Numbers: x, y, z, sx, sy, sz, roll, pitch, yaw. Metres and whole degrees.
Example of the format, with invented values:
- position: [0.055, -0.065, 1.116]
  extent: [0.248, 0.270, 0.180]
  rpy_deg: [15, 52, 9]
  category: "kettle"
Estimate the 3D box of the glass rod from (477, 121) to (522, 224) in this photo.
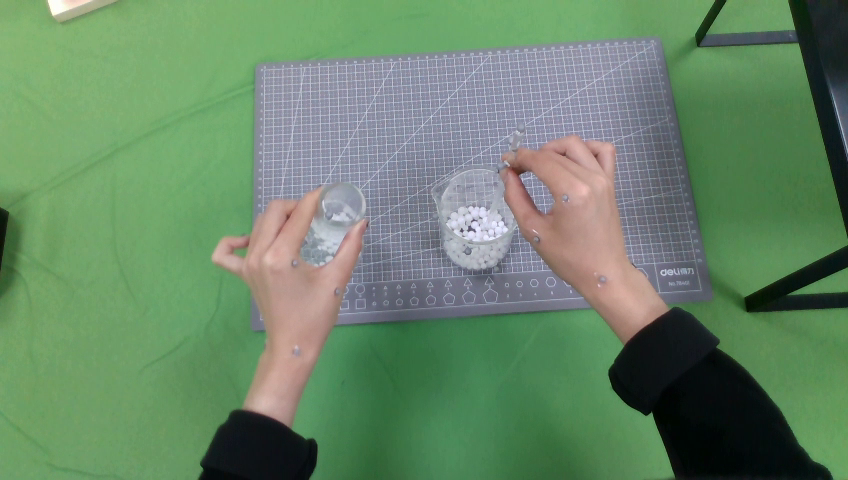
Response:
- position: [0.060, -0.049, 0.508]
  extent: [0.008, 0.200, 0.008]
  rpy_deg: [1, 72, -2]
  category: "glass rod"

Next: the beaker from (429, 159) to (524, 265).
- position: [0.046, -0.021, 0.565]
  extent: [0.084, 0.101, 0.073]
  rpy_deg: [19, 74, 8]
  category: "beaker"

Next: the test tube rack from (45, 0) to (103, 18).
- position: [-0.331, -0.346, 0.680]
  extent: [0.242, 0.085, 0.066]
  rpy_deg: [-24, 74, -6]
  category: "test tube rack"

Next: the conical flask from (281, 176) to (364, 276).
- position: [-0.081, -0.017, 0.521]
  extent: [0.075, 0.122, 0.075]
  rpy_deg: [5, 73, -16]
  category: "conical flask"
